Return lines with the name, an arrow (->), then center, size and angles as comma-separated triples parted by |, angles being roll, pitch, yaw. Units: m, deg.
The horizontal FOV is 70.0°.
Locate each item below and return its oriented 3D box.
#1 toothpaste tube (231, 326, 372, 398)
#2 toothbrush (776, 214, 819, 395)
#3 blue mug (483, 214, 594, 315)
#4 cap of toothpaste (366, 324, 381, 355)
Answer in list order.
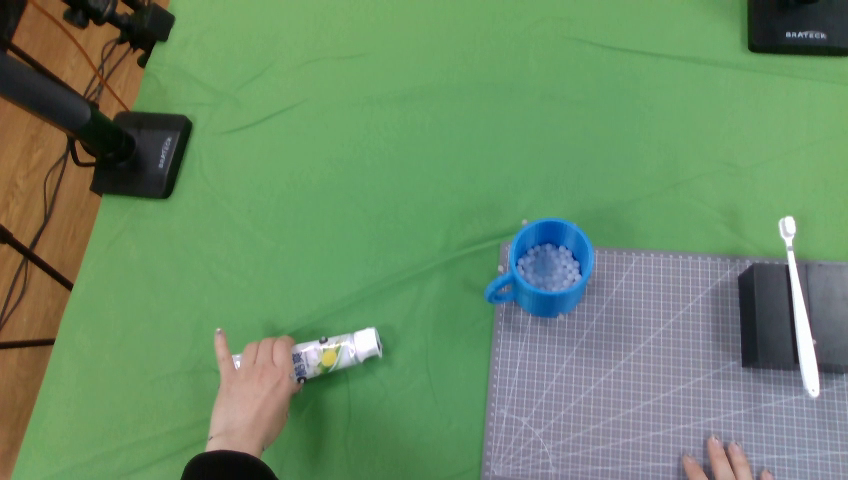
toothpaste tube -> -0.134, 0.130, 0.684 | 0.165, 0.034, 0.055 | -15, 79, -1
toothbrush -> 0.367, 0.059, 0.593 | 0.014, 0.017, 0.180 | 0, 72, 4
blue mug -> 0.117, 0.036, 0.643 | 0.116, 0.106, 0.081 | -23, 70, 1
cap of toothpaste -> -0.057, 0.113, 0.683 | 0.011, 0.037, 0.037 | -15, 70, 0
